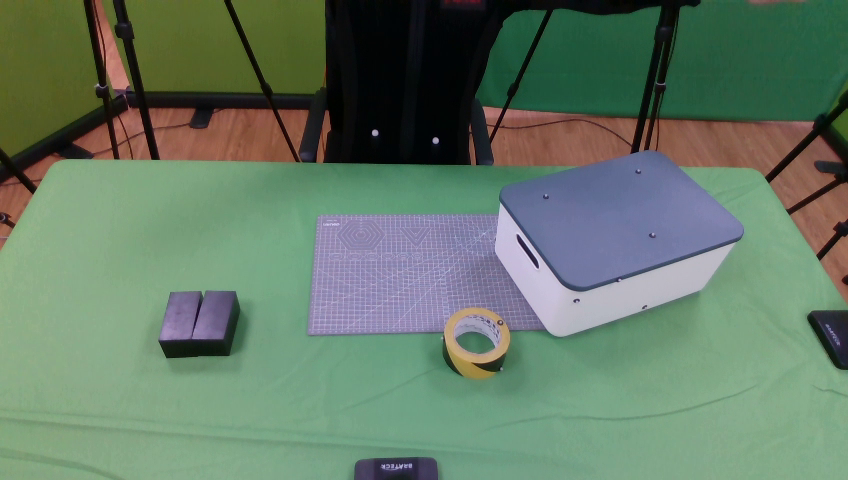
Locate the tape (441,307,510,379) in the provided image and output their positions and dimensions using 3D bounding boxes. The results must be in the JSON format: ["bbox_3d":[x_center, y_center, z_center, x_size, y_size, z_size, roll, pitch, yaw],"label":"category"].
[{"bbox_3d":[0.087,0.172,1.014,0.117,0.053,0.116,2,48,-2],"label":"tape"}]

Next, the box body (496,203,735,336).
[{"bbox_3d":[0.340,0.003,1.118,0.364,0.161,0.252,-15,49,-18],"label":"box body"}]

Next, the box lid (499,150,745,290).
[{"bbox_3d":[0.341,-0.049,1.064,0.372,0.015,0.261,-15,48,-18],"label":"box lid"}]
